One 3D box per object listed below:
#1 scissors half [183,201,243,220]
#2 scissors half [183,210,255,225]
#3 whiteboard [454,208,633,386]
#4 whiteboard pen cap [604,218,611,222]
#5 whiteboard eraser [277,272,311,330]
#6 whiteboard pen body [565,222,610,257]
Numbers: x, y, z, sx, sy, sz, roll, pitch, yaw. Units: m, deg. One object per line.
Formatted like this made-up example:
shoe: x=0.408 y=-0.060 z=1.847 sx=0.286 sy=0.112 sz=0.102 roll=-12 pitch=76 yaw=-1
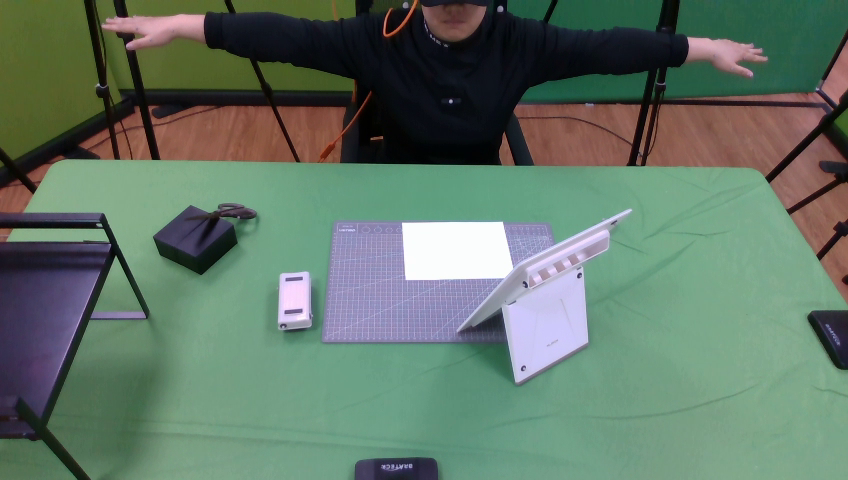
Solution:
scissors half: x=-0.405 y=-0.054 z=1.163 sx=0.040 sy=0.013 sz=0.175 roll=30 pitch=18 yaw=7
scissors half: x=-0.389 y=-0.042 z=1.158 sx=0.040 sy=0.013 sz=0.175 roll=41 pitch=21 yaw=22
whiteboard: x=0.211 y=0.111 z=0.954 sx=0.217 sy=0.306 sz=0.143 roll=-22 pitch=72 yaw=-24
whiteboard pen cap: x=0.378 y=-0.031 z=1.255 sx=0.033 sy=0.018 sz=0.018 roll=-33 pitch=57 yaw=-29
whiteboard eraser: x=-0.228 y=0.108 z=1.062 sx=0.056 sy=0.042 sz=0.112 roll=-3 pitch=46 yaw=-9
whiteboard pen body: x=0.334 y=-0.004 z=1.228 sx=0.141 sy=0.017 sz=0.017 roll=-32 pitch=56 yaw=-29
